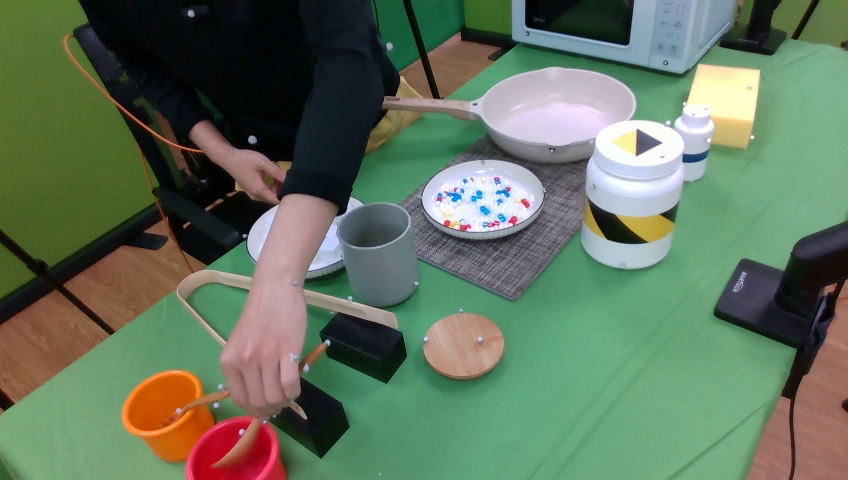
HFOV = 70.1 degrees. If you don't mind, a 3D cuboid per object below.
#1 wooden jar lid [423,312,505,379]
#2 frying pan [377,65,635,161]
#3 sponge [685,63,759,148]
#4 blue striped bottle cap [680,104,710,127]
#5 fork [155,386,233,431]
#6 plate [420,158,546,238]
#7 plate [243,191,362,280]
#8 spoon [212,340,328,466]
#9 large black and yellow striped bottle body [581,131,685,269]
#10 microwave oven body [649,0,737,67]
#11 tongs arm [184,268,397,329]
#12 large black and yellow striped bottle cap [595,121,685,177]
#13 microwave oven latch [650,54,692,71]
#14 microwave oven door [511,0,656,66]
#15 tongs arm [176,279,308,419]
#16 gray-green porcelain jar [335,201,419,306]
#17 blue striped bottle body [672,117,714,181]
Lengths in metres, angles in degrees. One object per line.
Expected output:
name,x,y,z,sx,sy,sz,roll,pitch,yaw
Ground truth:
wooden jar lid,0.053,0.142,0.801,0.108,0.021,0.108,-4,40,4
frying pan,0.150,-0.255,1.177,0.488,0.103,0.306,7,41,3
sponge,0.569,-0.263,1.164,0.117,0.061,0.207,12,45,22
blue striped bottle cap,0.443,-0.205,0.989,0.044,0.021,0.044,-1,41,2
fork,-0.264,0.191,0.688,0.206,0.018,0.028,-34,10,44
plate,0.099,-0.067,1.017,0.209,0.038,0.208,-4,40,4
plate,-0.188,-0.005,0.992,0.207,0.039,0.206,-4,40,4
spoon,-0.160,0.171,0.627,0.021,0.193,0.042,42,14,21
large black and yellow striped bottle body,0.301,-0.063,0.878,0.131,0.185,0.130,-4,41,4
microwave oven body,0.475,-0.602,1.411,0.438,0.261,0.327,23,50,32
tongs arm,-0.202,0.084,0.848,0.382,0.027,0.051,11,45,35
large black and yellow striped bottle cap,0.292,-0.126,0.821,0.115,0.019,0.114,-5,40,4
microwave oven latch,0.531,-0.386,1.301,0.078,0.029,0.030,25,51,33
microwave oven door,0.350,-0.539,1.348,0.353,0.245,0.039,24,50,31
tongs arm,-0.255,0.132,0.801,0.028,0.028,0.384,-41,40,-23
gray-green porcelain jar,-0.064,0.024,0.872,0.106,0.127,0.105,-4,41,4
blue striped bottle body,0.449,-0.165,1.022,0.063,0.121,0.063,-5,41,4
